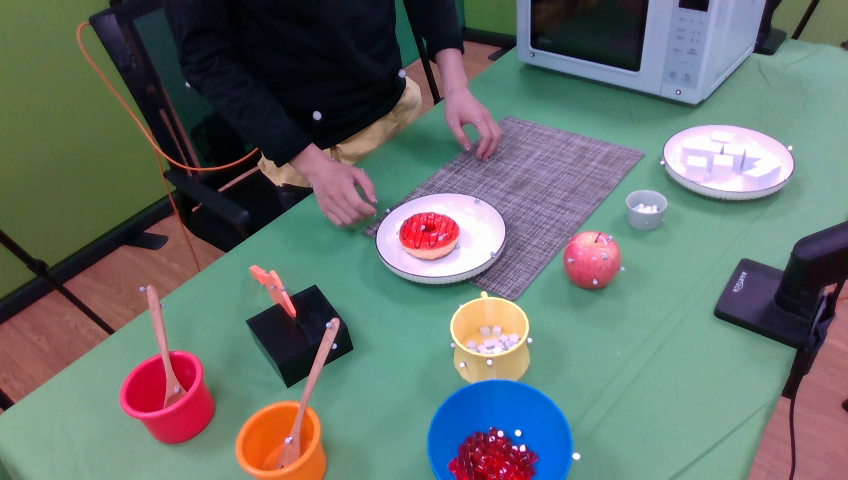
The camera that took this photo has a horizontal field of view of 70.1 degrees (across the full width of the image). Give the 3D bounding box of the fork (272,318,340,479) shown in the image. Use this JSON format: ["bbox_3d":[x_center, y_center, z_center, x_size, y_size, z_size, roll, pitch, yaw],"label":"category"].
[{"bbox_3d":[-0.131,0.186,0.676,0.028,0.019,0.207,18,90,28],"label":"fork"}]

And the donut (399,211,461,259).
[{"bbox_3d":[0.009,-0.009,0.948,0.099,0.048,0.098,-4,39,4],"label":"donut"}]

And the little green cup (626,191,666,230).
[{"bbox_3d":[0.352,-0.046,0.963,0.061,0.039,0.061,-4,40,4],"label":"little green cup"}]

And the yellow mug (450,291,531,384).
[{"bbox_3d":[0.085,0.120,0.786,0.100,0.064,0.130,-7,39,1],"label":"yellow mug"}]

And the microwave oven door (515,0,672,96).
[{"bbox_3d":[0.343,-0.454,1.259,0.353,0.245,0.039,26,51,33],"label":"microwave oven door"}]

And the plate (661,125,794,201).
[{"bbox_3d":[0.513,-0.128,1.035,0.207,0.039,0.206,-4,40,4],"label":"plate"}]

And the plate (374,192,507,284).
[{"bbox_3d":[0.027,0.000,0.952,0.209,0.038,0.208,-4,40,4],"label":"plate"}]

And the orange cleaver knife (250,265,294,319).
[{"bbox_3d":[-0.221,0.073,0.876,0.012,0.077,0.210,-24,12,-22],"label":"orange cleaver knife"}]

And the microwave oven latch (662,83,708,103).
[{"bbox_3d":[0.518,-0.296,1.204,0.078,0.029,0.030,27,52,35],"label":"microwave oven latch"}]

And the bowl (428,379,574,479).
[{"bbox_3d":[0.082,0.233,0.644,0.151,0.077,0.150,-4,40,4],"label":"bowl"}]

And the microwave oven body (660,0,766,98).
[{"bbox_3d":[0.472,-0.513,1.317,0.438,0.261,0.327,26,51,34],"label":"microwave oven body"}]

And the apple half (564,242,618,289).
[{"bbox_3d":[0.229,0.044,0.848,0.081,0.081,0.033,16,41,26],"label":"apple half"}]

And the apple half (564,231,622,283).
[{"bbox_3d":[0.248,0.021,0.874,0.080,0.075,0.053,13,40,28],"label":"apple half"}]

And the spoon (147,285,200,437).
[{"bbox_3d":[-0.318,0.148,0.754,0.042,0.021,0.193,-15,85,-10],"label":"spoon"}]
